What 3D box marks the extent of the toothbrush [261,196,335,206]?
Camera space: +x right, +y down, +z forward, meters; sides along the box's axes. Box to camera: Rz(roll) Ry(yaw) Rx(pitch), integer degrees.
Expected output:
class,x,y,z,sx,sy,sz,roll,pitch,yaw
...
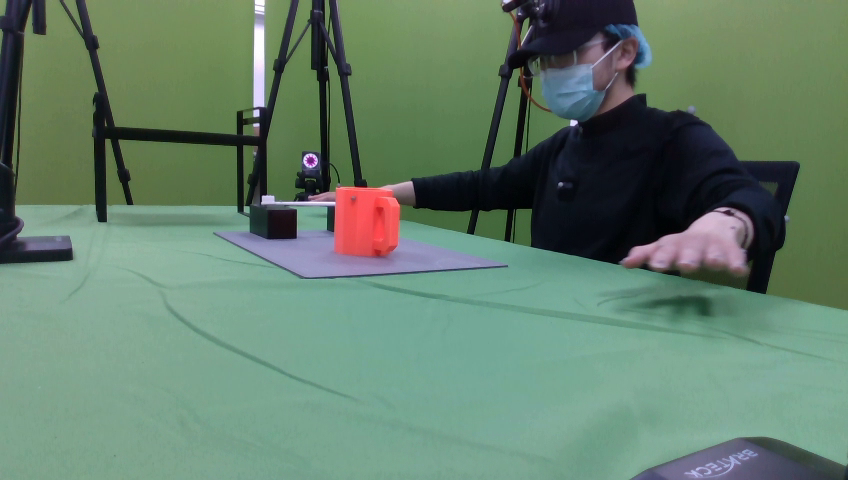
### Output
class,x,y,z,sx,sy,sz,roll,pitch,yaw
toothbrush,-0.200,-0.068,1.073,0.183,0.016,0.014,-1,-7,-34

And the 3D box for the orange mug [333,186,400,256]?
class,x,y,z,sx,sy,sz,roll,pitch,yaw
orange mug,-0.080,-0.029,0.888,0.084,0.100,0.125,-3,5,-40
